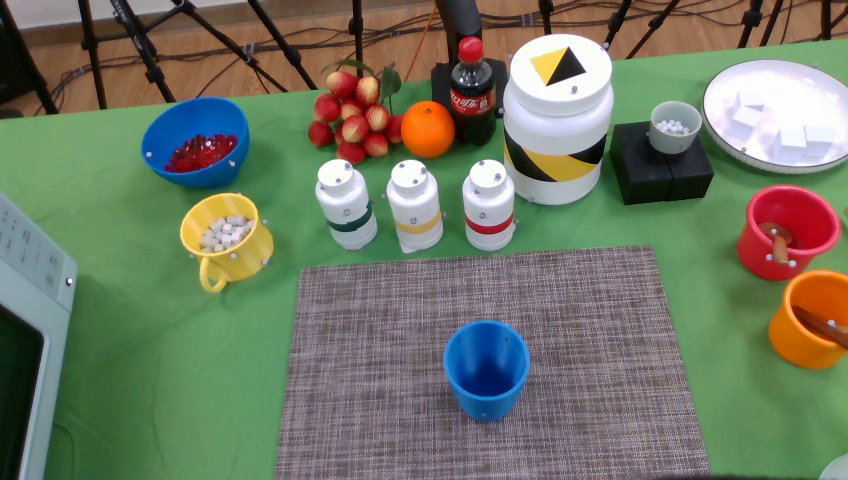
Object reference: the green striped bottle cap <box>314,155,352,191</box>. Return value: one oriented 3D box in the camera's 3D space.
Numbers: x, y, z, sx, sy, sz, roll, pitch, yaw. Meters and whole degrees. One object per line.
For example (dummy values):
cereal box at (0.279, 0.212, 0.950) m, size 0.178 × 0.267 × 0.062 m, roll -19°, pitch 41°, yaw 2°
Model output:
green striped bottle cap at (-0.110, -0.081, 0.729) m, size 0.044 × 0.020 × 0.044 m, roll -2°, pitch 56°, yaw 3°

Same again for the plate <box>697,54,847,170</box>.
plate at (0.482, -0.173, 0.834) m, size 0.209 × 0.038 × 0.207 m, roll -3°, pitch 57°, yaw 5°

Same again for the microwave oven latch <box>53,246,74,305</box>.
microwave oven latch at (-0.472, 0.048, 0.778) m, size 0.030 × 0.030 × 0.078 m, roll -11°, pitch 57°, yaw -2°

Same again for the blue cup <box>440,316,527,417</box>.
blue cup at (0.062, 0.140, 0.632) m, size 0.092 × 0.101 × 0.092 m, roll -2°, pitch 55°, yaw 3°

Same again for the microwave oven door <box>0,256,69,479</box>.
microwave oven door at (-0.445, 0.167, 0.572) m, size 0.039 × 0.246 × 0.352 m, roll -12°, pitch 56°, yaw -1°

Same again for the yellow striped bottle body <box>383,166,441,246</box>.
yellow striped bottle body at (-0.015, -0.050, 0.761) m, size 0.063 × 0.121 × 0.062 m, roll -4°, pitch 56°, yaw 6°

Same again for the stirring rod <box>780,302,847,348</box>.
stirring rod at (0.409, 0.093, 0.608) m, size 0.014 × 0.006 × 0.175 m, roll -2°, pitch 13°, yaw 3°

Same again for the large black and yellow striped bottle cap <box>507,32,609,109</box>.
large black and yellow striped bottle cap at (0.154, -0.197, 0.699) m, size 0.115 × 0.019 × 0.114 m, roll -3°, pitch 55°, yaw 5°

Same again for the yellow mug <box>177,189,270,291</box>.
yellow mug at (-0.263, 0.005, 0.786) m, size 0.100 × 0.064 × 0.130 m, roll 5°, pitch 58°, yaw 9°

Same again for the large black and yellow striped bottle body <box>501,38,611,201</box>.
large black and yellow striped bottle body at (0.163, -0.152, 0.769) m, size 0.131 × 0.186 × 0.129 m, roll -3°, pitch 56°, yaw 5°

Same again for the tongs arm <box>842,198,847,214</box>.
tongs arm at (0.587, 0.099, 0.642) m, size 0.051 × 0.027 × 0.380 m, roll -14°, pitch 57°, yaw -5°

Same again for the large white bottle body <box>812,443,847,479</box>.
large white bottle body at (0.423, 0.210, 0.497) m, size 0.130 × 0.186 × 0.129 m, roll -3°, pitch 56°, yaw 5°

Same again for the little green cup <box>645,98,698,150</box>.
little green cup at (0.314, -0.146, 0.775) m, size 0.061 × 0.039 × 0.061 m, roll -2°, pitch 55°, yaw 4°

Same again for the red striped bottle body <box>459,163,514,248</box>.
red striped bottle body at (0.078, -0.047, 0.749) m, size 0.063 × 0.121 × 0.062 m, roll -5°, pitch 54°, yaw 8°

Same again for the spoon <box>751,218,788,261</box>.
spoon at (0.385, -0.003, 0.668) m, size 0.041 × 0.194 × 0.022 m, roll 25°, pitch 108°, yaw 22°

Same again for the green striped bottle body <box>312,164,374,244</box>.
green striped bottle body at (-0.103, -0.052, 0.773) m, size 0.063 × 0.120 × 0.062 m, roll -3°, pitch 56°, yaw 5°

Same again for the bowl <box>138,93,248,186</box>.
bowl at (-0.320, -0.132, 0.876) m, size 0.151 × 0.077 × 0.150 m, roll -3°, pitch 57°, yaw 4°

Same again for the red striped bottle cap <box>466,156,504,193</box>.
red striped bottle cap at (0.071, -0.077, 0.705) m, size 0.044 × 0.018 × 0.044 m, roll -1°, pitch 55°, yaw 2°

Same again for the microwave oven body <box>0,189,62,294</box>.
microwave oven body at (-0.596, 0.166, 0.596) m, size 0.326 × 0.262 × 0.437 m, roll -12°, pitch 57°, yaw -2°

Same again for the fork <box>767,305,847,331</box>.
fork at (0.438, 0.090, 0.597) m, size 0.028 × 0.019 × 0.206 m, roll -30°, pitch 14°, yaw -19°

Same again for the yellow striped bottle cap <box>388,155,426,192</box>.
yellow striped bottle cap at (-0.020, -0.079, 0.718) m, size 0.044 × 0.019 × 0.044 m, roll -3°, pitch 57°, yaw 5°
